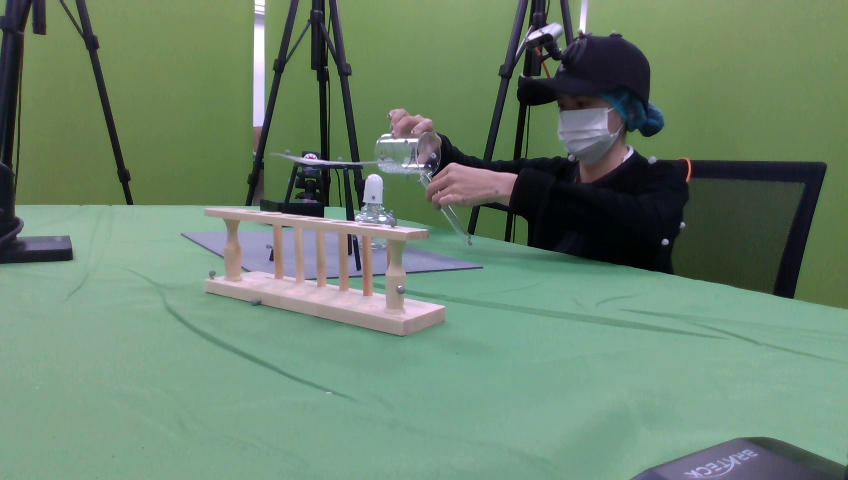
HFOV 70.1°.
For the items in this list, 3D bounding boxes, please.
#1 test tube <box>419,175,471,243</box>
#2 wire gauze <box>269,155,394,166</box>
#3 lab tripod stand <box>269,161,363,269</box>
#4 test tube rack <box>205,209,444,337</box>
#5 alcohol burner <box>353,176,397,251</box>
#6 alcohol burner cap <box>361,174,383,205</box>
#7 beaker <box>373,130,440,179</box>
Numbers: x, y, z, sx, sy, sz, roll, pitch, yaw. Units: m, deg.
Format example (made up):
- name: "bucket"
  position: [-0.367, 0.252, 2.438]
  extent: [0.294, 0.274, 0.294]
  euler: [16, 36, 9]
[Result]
- name: "test tube"
  position: [0.034, -0.053, 0.998]
  extent: [0.017, 0.017, 0.149]
  euler: [-4, 51, -44]
- name: "wire gauze"
  position: [-0.121, -0.102, 0.785]
  extent: [0.122, 0.011, 0.124]
  euler: [-3, 10, -39]
- name: "lab tripod stand"
  position: [-0.125, -0.036, 0.794]
  extent: [0.148, 0.131, 0.148]
  euler: [5, 7, 0]
- name: "test tube rack"
  position: [-0.100, 0.021, 0.565]
  extent: [0.241, 0.085, 0.067]
  euler: [7, 9, 32]
- name: "alcohol burner"
  position: [-0.082, -0.043, 0.950]
  extent: [0.078, 0.119, 0.078]
  euler: [1, 8, 0]
- name: "alcohol burner cap"
  position: [-0.080, -0.078, 0.944]
  extent: [0.034, 0.048, 0.034]
  euler: [5, 8, 0]
- name: "beaker"
  position: [-0.033, -0.149, 1.059]
  extent: [0.100, 0.084, 0.074]
  euler: [6, -3, 35]
